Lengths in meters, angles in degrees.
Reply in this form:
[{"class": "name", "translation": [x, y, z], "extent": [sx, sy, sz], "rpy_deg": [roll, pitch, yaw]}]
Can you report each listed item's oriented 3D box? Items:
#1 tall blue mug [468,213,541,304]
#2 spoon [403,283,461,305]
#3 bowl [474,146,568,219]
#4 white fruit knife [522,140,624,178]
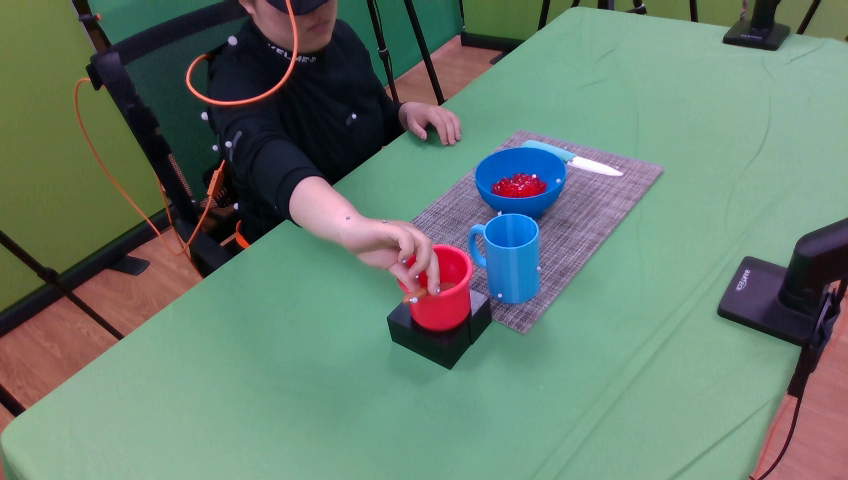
[{"class": "tall blue mug", "translation": [0.111, 0.026, 0.856], "extent": [0.107, 0.108, 0.077], "rpy_deg": [2, 42, 13]}, {"class": "spoon", "translation": [0.007, 0.064, 0.732], "extent": [0.041, 0.021, 0.194], "rpy_deg": [7, -1, 17]}, {"class": "bowl", "translation": [0.161, -0.083, 1.000], "extent": [0.151, 0.077, 0.150], "rpy_deg": [-5, 40, 5]}, {"class": "white fruit knife", "translation": [0.270, -0.149, 1.110], "extent": [0.206, 0.016, 0.027], "rpy_deg": [25, 80, 32]}]
